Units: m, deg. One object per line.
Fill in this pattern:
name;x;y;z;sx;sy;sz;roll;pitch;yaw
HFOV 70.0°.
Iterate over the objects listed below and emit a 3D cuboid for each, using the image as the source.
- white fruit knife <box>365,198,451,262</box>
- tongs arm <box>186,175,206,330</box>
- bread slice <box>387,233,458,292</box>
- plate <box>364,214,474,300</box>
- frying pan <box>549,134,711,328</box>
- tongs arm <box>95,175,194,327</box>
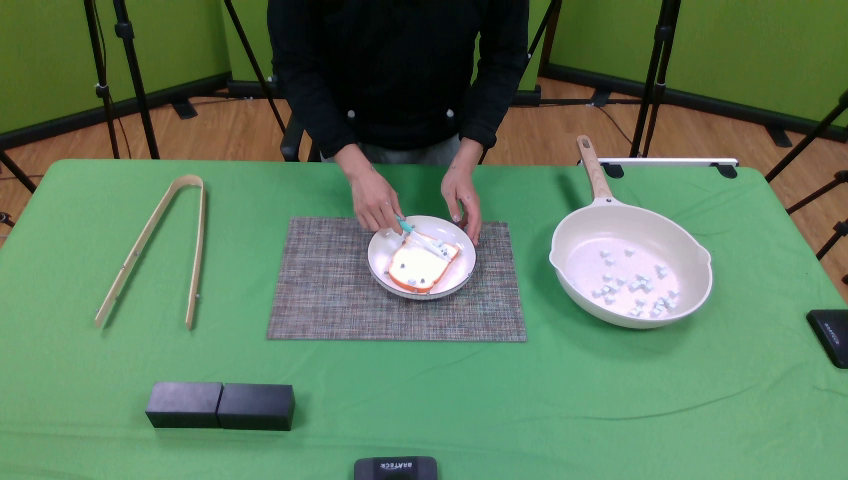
white fruit knife;-0.031;-0.020;1.154;0.207;0.027;0.016;36;59;12
tongs arm;-0.436;0.009;1.151;0.028;0.028;0.385;-7;47;-8
bread slice;-0.007;0.043;1.142;0.107;0.018;0.134;18;46;14
plate;-0.010;0.036;1.147;0.208;0.039;0.206;2;46;-2
frying pan;0.372;-0.035;1.203;0.307;0.103;0.484;-1;55;-6
tongs arm;-0.516;0.006;1.142;0.051;0.026;0.382;4;45;-2
